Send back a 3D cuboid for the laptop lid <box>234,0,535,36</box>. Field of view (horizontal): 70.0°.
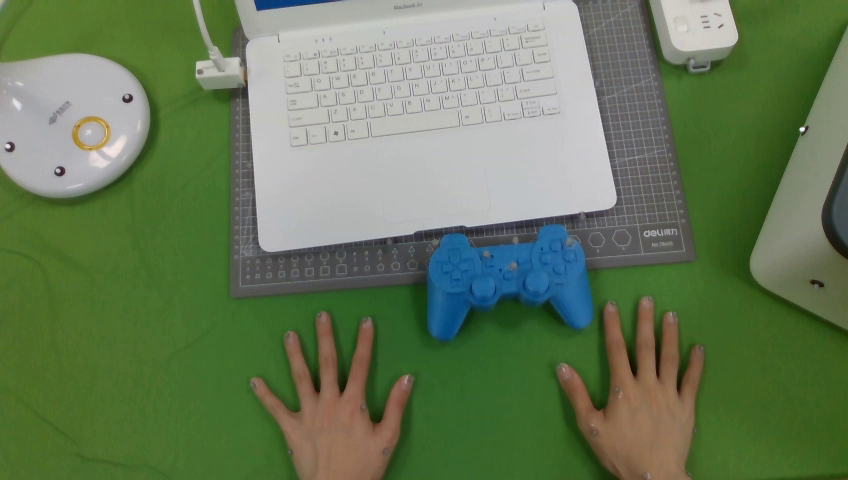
[{"bbox_3d":[-0.025,-0.320,0.568,0.357,0.244,0.013,-9,44,0],"label":"laptop lid"}]

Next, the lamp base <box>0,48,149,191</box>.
[{"bbox_3d":[-0.378,-0.151,0.551,0.178,0.181,0.160,22,76,10],"label":"lamp base"}]

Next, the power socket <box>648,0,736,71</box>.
[{"bbox_3d":[0.274,-0.291,0.652,0.072,0.033,0.225,-6,75,-2],"label":"power socket"}]

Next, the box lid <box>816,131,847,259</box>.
[{"bbox_3d":[0.478,-0.100,0.454,0.262,0.015,0.370,28,78,8],"label":"box lid"}]

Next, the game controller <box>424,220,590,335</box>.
[{"bbox_3d":[0.075,0.033,0.562,0.155,0.052,0.096,-4,73,0],"label":"game controller"}]

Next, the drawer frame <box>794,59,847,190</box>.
[{"bbox_3d":[0.495,-0.117,0.567,0.201,0.083,0.213,33,74,7],"label":"drawer frame"}]

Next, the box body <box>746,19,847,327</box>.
[{"bbox_3d":[0.479,-0.079,0.524,0.253,0.161,0.363,28,77,8],"label":"box body"}]

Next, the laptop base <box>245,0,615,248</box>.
[{"bbox_3d":[-0.001,-0.124,0.620,0.354,0.023,0.234,-7,79,-1],"label":"laptop base"}]

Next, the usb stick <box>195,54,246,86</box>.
[{"bbox_3d":[-0.203,-0.176,0.624,0.059,0.027,0.021,-3,69,-3],"label":"usb stick"}]
